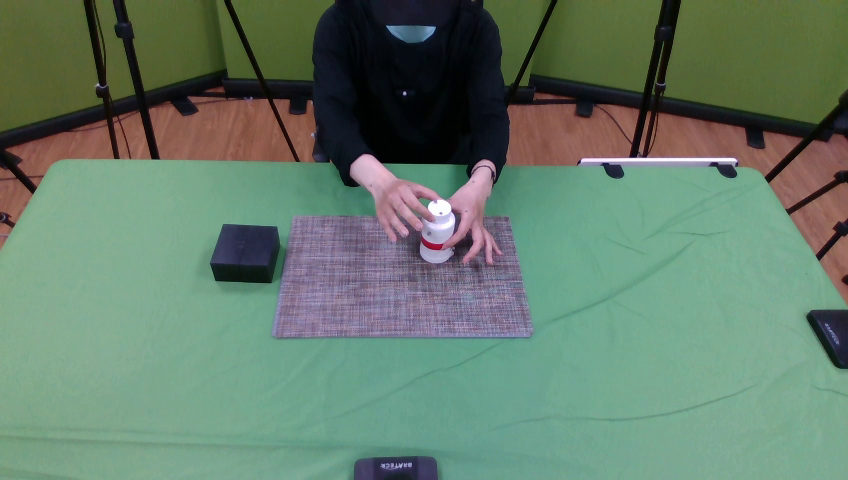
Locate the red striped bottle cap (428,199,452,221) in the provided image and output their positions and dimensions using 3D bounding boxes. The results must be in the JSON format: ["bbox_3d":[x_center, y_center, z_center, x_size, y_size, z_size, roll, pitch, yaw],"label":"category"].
[{"bbox_3d":[0.029,-0.055,1.100,0.044,0.018,0.044,-1,49,2],"label":"red striped bottle cap"}]

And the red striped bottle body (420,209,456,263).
[{"bbox_3d":[0.026,-0.017,1.139,0.063,0.120,0.062,2,47,-2],"label":"red striped bottle body"}]
